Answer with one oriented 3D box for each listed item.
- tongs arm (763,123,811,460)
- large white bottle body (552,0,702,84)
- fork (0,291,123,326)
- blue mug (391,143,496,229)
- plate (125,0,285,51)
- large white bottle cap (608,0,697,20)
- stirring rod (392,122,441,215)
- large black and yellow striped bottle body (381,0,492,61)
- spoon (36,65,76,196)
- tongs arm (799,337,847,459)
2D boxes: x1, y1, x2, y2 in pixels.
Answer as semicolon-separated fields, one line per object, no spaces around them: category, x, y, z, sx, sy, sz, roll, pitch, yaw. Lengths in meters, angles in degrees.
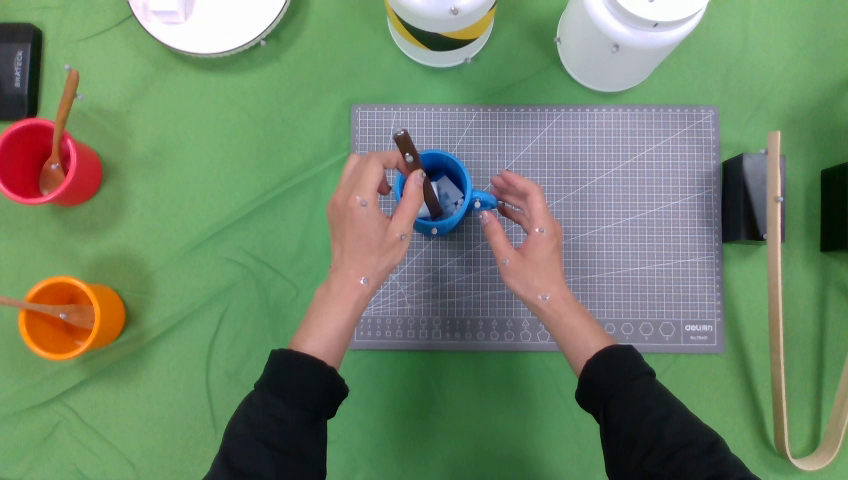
tongs arm;0.407;0.062;0.678;0.051;0.026;0.385;-4;98;-2
large white bottle body;0.220;-0.260;0.659;0.130;0.185;0.130;0;86;0
fork;-0.439;0.065;0.662;0.209;0.018;0.028;22;85;-42
blue mug;0.024;-0.056;0.686;0.116;0.106;0.082;8;86;1
plate;-0.262;-0.329;0.740;0.208;0.039;0.207;0;87;0
large white bottle cap;0.219;-0.267;0.575;0.115;0.018;0.114;0;86;0
stirring rod;-0.004;-0.062;0.578;0.014;0.177;0.005;-33;66;-2
large black and yellow striped bottle body;0.014;-0.289;0.663;0.131;0.184;0.130;0;86;1
spoon;-0.409;-0.117;0.675;0.041;0.021;0.194;46;131;6
tongs arm;0.489;0.063;0.680;0.028;0.027;0.388;9;98;-7
